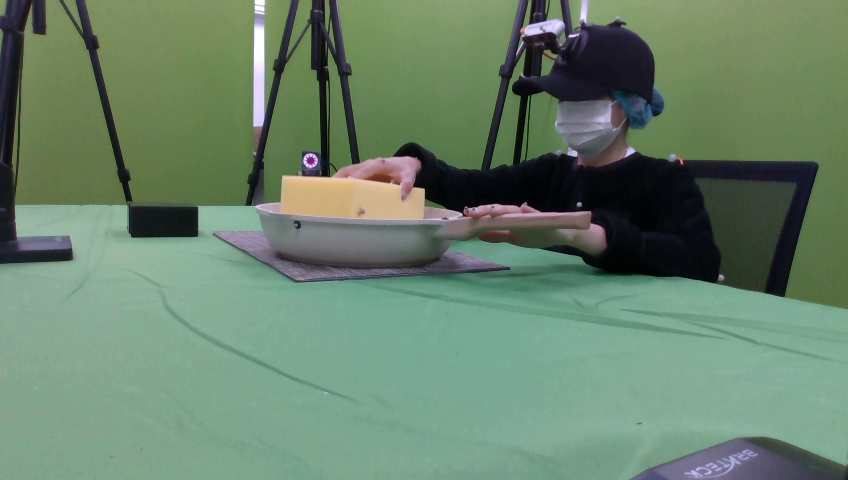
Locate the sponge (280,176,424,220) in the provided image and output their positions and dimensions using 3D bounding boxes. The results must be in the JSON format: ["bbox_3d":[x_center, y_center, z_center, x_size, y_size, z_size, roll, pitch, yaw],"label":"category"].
[{"bbox_3d":[-0.097,-0.053,0.876,0.118,0.061,0.208,5,3,25],"label":"sponge"}]

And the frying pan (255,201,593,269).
[{"bbox_3d":[-0.011,-0.016,0.802,0.485,0.102,0.308,-2,4,39],"label":"frying pan"}]
